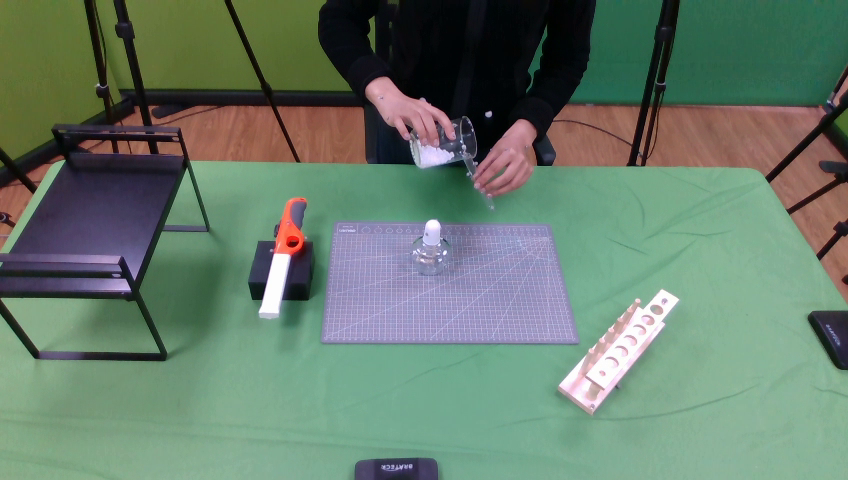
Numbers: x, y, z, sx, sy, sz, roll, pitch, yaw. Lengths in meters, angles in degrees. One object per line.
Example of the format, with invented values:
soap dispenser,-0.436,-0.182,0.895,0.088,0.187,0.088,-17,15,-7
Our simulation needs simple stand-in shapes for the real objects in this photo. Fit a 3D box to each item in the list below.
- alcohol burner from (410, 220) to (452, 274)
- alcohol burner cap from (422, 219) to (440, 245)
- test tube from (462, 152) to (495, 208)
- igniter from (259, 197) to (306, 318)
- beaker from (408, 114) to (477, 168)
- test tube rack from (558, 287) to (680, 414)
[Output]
alcohol burner,0.013,0.008,1.120,0.078,0.120,0.077,1,48,-1
alcohol burner cap,0.014,-0.018,1.094,0.034,0.048,0.033,5,44,-5
test tube,0.103,-0.107,1.116,0.017,0.151,0.017,-15,49,18
igniter,-0.252,0.021,1.087,0.057,0.025,0.275,4,48,-2
beaker,0.029,-0.164,1.025,0.100,0.084,0.073,-15,50,-12
test tube rack,0.327,0.170,1.009,0.066,0.085,0.242,36,54,27
